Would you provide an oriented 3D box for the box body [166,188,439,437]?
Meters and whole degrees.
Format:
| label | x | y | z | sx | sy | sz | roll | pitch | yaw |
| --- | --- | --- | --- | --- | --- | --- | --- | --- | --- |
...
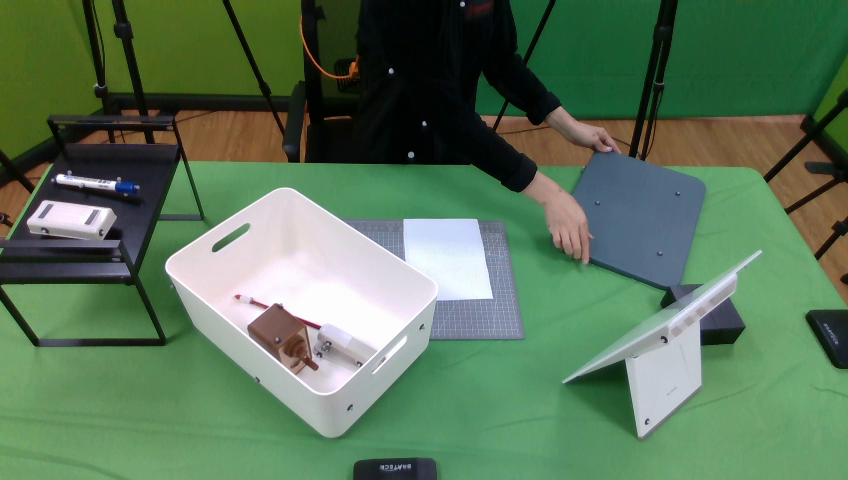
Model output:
| label | x | y | z | sx | sy | sz | roll | pitch | yaw |
| --- | --- | --- | --- | --- | --- | --- | --- | --- | --- |
| box body | -0.190 | 0.108 | 0.980 | 0.362 | 0.161 | 0.254 | 32 | 52 | 23 |

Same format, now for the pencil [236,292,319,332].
| label | x | y | z | sx | sy | sz | roll | pitch | yaw |
| --- | --- | --- | --- | --- | --- | --- | --- | --- | --- |
| pencil | -0.244 | 0.130 | 1.054 | 0.193 | 0.012 | 0.012 | 22 | 49 | 12 |

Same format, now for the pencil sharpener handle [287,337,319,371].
| label | x | y | z | sx | sy | sz | roll | pitch | yaw |
| --- | --- | --- | --- | --- | --- | --- | --- | --- | --- |
| pencil sharpener handle | -0.182 | 0.179 | 0.928 | 0.030 | 0.068 | 0.036 | 31 | 66 | 23 |

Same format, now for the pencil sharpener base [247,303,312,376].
| label | x | y | z | sx | sy | sz | roll | pitch | yaw |
| --- | --- | --- | --- | --- | --- | --- | --- | --- | --- |
| pencil sharpener base | -0.224 | 0.165 | 0.956 | 0.076 | 0.107 | 0.061 | 31 | 53 | 23 |

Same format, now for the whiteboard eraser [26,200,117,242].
| label | x | y | z | sx | sy | sz | roll | pitch | yaw |
| --- | --- | --- | --- | --- | --- | --- | --- | --- | --- |
| whiteboard eraser | -0.532 | -0.026 | 0.919 | 0.113 | 0.042 | 0.055 | 7 | 45 | 3 |

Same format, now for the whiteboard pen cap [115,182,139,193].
| label | x | y | z | sx | sy | sz | roll | pitch | yaw |
| --- | --- | --- | --- | --- | --- | --- | --- | --- | --- |
| whiteboard pen cap | -0.483 | -0.086 | 0.984 | 0.033 | 0.018 | 0.018 | 7 | 46 | 10 |

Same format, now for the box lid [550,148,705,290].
| label | x | y | z | sx | sy | sz | roll | pitch | yaw |
| --- | --- | --- | --- | --- | --- | --- | --- | --- | --- |
| box lid | 0.444 | -0.062 | 1.296 | 0.262 | 0.015 | 0.370 | 22 | 49 | 15 |

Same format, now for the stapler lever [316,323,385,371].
| label | x | y | z | sx | sy | sz | roll | pitch | yaw |
| --- | --- | --- | --- | --- | --- | --- | --- | --- | --- |
| stapler lever | -0.120 | 0.171 | 0.977 | 0.118 | 0.040 | 0.027 | 22 | 51 | 13 |

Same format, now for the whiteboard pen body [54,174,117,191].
| label | x | y | z | sx | sy | sz | roll | pitch | yaw |
| --- | --- | --- | --- | --- | --- | --- | --- | --- | --- |
| whiteboard pen body | -0.541 | -0.093 | 0.993 | 0.140 | 0.017 | 0.017 | 7 | 46 | 8 |

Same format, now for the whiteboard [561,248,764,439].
| label | x | y | z | sx | sy | sz | roll | pitch | yaw |
| --- | --- | --- | --- | --- | --- | --- | --- | --- | --- |
| whiteboard | 0.386 | 0.176 | 0.905 | 0.217 | 0.306 | 0.143 | -26 | 72 | -27 |

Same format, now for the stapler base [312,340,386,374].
| label | x | y | z | sx | sy | sz | roll | pitch | yaw |
| --- | --- | --- | --- | --- | --- | --- | --- | --- | --- |
| stapler base | -0.123 | 0.189 | 0.997 | 0.130 | 0.024 | 0.041 | 21 | 51 | 15 |
